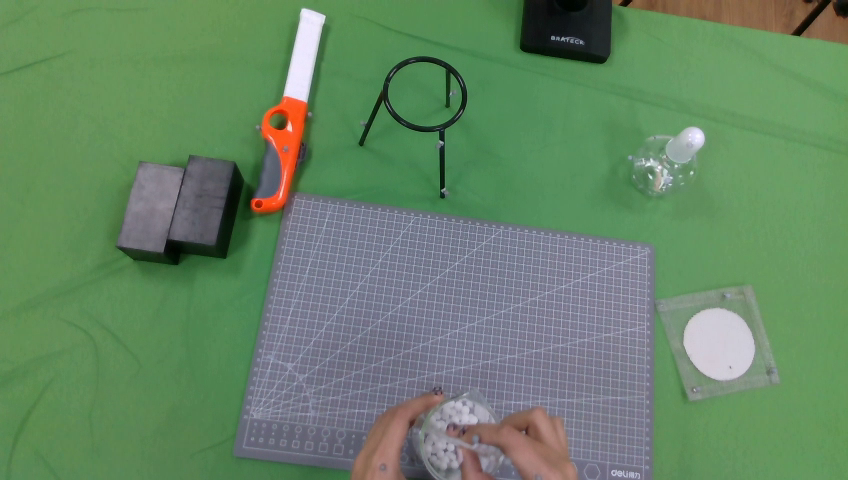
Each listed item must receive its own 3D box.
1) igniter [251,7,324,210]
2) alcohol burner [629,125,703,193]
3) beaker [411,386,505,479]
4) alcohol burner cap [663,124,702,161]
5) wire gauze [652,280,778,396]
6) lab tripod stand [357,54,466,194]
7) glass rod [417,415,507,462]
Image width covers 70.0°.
[{"bbox_3d":[-0.164,-0.163,0.741,0.057,0.025,0.275,14,72,-17],"label":"igniter"},{"bbox_3d":[0.294,-0.103,0.722,0.078,0.119,0.077,2,71,-5],"label":"alcohol burner"},{"bbox_3d":[0.028,0.177,0.564,0.074,0.100,0.083,19,75,-3],"label":"beaker"},{"bbox_3d":[0.297,-0.113,0.688,0.034,0.048,0.033,0,77,-1],"label":"alcohol burner cap"},{"bbox_3d":[0.347,0.114,0.718,0.125,0.011,0.120,-9,74,-6],"label":"wire gauze"},{"bbox_3d":[-0.005,-0.141,0.695,0.148,0.132,0.147,1,71,-4],"label":"lab tripod stand"},{"bbox_3d":[0.025,0.162,0.504,0.008,0.199,0.008,3,81,-17],"label":"glass rod"}]
